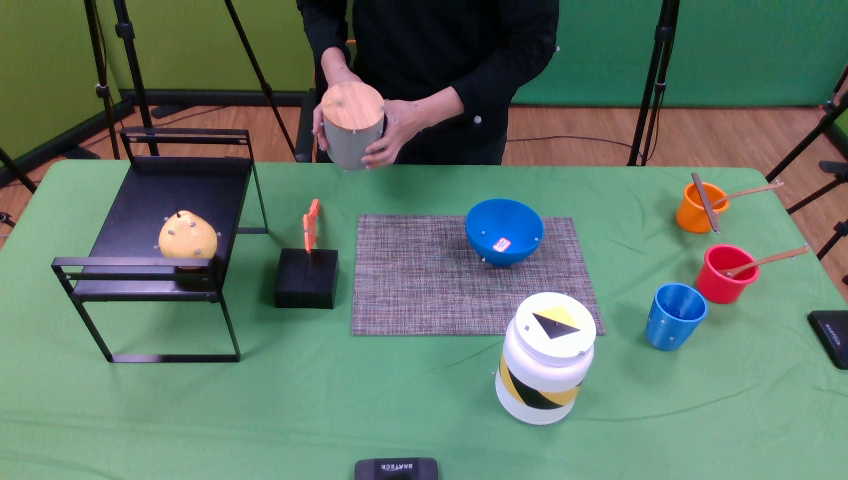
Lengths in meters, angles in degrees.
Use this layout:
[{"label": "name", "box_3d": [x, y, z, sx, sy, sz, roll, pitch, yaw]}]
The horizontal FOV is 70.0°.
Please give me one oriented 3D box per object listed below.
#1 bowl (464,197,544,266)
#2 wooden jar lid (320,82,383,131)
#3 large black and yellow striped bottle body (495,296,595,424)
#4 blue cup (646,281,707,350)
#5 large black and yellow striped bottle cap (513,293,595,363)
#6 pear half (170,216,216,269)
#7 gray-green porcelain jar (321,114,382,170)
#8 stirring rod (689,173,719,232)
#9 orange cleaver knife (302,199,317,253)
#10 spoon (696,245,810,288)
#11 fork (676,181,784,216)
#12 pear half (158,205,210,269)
[{"label": "bowl", "box_3d": [0.149, -0.004, 1.167, 0.151, 0.077, 0.150, 2, 46, -2]}, {"label": "wooden jar lid", "box_3d": [-0.125, -0.227, 1.044, 0.108, 0.021, 0.108, 4, 61, -7]}, {"label": "large black and yellow striped bottle body", "box_3d": [0.183, 0.182, 0.923, 0.131, 0.185, 0.130, 2, 46, -2]}, {"label": "blue cup", "box_3d": [0.425, 0.136, 1.042, 0.092, 0.101, 0.092, 1, 44, -1]}, {"label": "large black and yellow striped bottle cap", "box_3d": [0.186, 0.123, 0.863, 0.115, 0.019, 0.114, 3, 45, -3]}, {"label": "pear half", "box_3d": [-0.323, 0.007, 0.866, 0.031, 0.088, 0.070, 25, 46, 20]}, {"label": "gray-green porcelain jar", "box_3d": [-0.130, -0.197, 1.098, 0.106, 0.127, 0.105, 3, 61, -5]}, {"label": "stirring rod", "box_3d": [0.565, -0.080, 1.225, 0.014, 0.006, 0.175, 3, 46, 1]}, {"label": "orange cleaver knife", "box_3d": [-0.219, -0.031, 1.168, 0.012, 0.077, 0.210, -5, 17, -3]}, {"label": "spoon", "box_3d": [0.601, 0.047, 1.114, 0.193, 0.022, 0.041, -27, 36, 33]}, {"label": "fork", "box_3d": [0.618, -0.084, 1.235, 0.019, 0.207, 0.028, 54, 40, -16]}, {"label": "pear half", "box_3d": [-0.352, -0.015, 0.872, 0.056, 0.110, 0.076, 25, 46, 19]}]
